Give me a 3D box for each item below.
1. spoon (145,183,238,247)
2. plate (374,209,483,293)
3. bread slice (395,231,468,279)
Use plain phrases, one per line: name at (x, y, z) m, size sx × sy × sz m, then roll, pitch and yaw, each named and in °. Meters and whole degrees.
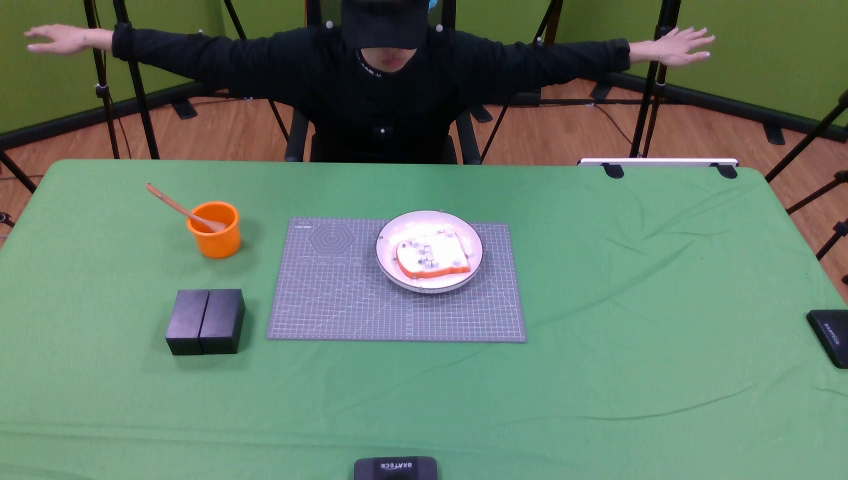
spoon at (-0.424, -0.045, 1.114) m, size 0.195 × 0.021 × 0.041 m, roll 34°, pitch 40°, yaw -28°
plate at (0.009, 0.024, 1.160) m, size 0.209 × 0.038 × 0.208 m, roll 2°, pitch 46°, yaw -2°
bread slice at (0.011, 0.030, 1.158) m, size 0.132 × 0.019 × 0.104 m, roll -8°, pitch 47°, yaw -14°
